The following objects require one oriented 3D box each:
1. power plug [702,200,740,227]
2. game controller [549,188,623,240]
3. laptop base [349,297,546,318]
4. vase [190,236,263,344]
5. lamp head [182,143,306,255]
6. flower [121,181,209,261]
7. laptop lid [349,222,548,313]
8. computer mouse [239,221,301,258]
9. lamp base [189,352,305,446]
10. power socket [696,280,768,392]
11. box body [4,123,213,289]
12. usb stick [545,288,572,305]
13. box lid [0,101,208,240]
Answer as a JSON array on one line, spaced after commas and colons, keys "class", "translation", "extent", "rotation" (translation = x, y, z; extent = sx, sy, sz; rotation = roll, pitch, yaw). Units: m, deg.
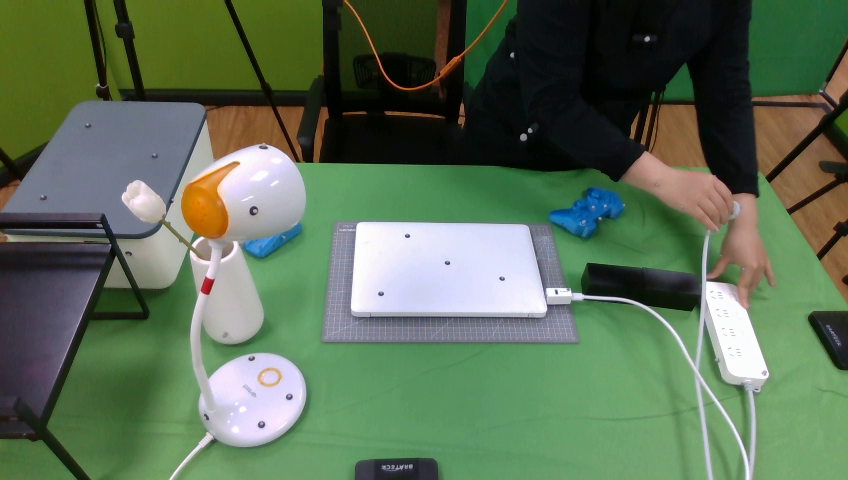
[{"class": "power plug", "translation": [0.523, -0.043, 1.073], "extent": [0.072, 0.053, 0.035], "rotation": [-39, 37, 13]}, {"class": "game controller", "translation": [0.346, -0.064, 1.271], "extent": [0.155, 0.052, 0.096], "rotation": [-31, 57, -28]}, {"class": "laptop base", "translation": [0.041, 0.056, 1.148], "extent": [0.355, 0.023, 0.234], "rotation": [1, 42, -4]}, {"class": "vase", "translation": [-0.317, 0.081, 0.971], "extent": [0.098, 0.201, 0.097], "rotation": [3, 47, -3]}, {"class": "lamp head", "translation": [-0.215, -0.043, 0.696], "extent": [0.112, 0.113, 0.123], "rotation": [23, 31, 17]}, {"class": "flower", "translation": [-0.329, 0.030, 0.904], "extent": [0.038, 0.364, 0.044], "rotation": [-23, 58, -1]}, {"class": "laptop lid", "translation": [0.042, 0.046, 1.142], "extent": [0.357, 0.013, 0.240], "rotation": [2, 44, -3]}, {"class": "computer mouse", "translation": [-0.300, -0.016, 1.178], "extent": [0.062, 0.041, 0.117], "rotation": [35, 58, 23]}, {"class": "lamp base", "translation": [-0.268, 0.197, 0.876], "extent": [0.160, 0.181, 0.179], "rotation": [26, 52, 20]}, {"class": "power socket", "translation": [0.543, 0.160, 1.076], "extent": [0.072, 0.033, 0.225], "rotation": [5, 46, 2]}, {"class": "box body", "translation": [-0.563, -0.087, 1.139], "extent": [0.254, 0.161, 0.361], "rotation": [2, 46, -3]}, {"class": "usb stick", "translation": [0.237, 0.103, 1.100], "extent": [0.059, 0.027, 0.021], "rotation": [-5, 47, 5]}, {"class": "box lid", "translation": [-0.559, -0.137, 1.084], "extent": [0.263, 0.015, 0.369], "rotation": [2, 46, -2]}]
